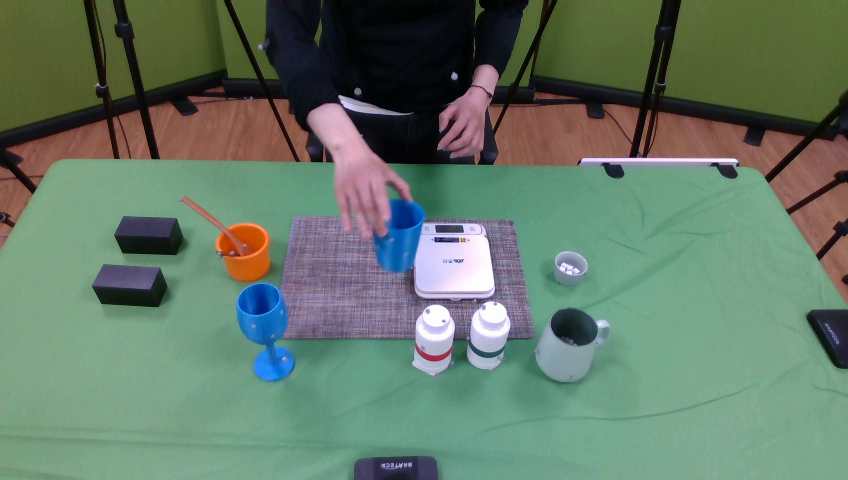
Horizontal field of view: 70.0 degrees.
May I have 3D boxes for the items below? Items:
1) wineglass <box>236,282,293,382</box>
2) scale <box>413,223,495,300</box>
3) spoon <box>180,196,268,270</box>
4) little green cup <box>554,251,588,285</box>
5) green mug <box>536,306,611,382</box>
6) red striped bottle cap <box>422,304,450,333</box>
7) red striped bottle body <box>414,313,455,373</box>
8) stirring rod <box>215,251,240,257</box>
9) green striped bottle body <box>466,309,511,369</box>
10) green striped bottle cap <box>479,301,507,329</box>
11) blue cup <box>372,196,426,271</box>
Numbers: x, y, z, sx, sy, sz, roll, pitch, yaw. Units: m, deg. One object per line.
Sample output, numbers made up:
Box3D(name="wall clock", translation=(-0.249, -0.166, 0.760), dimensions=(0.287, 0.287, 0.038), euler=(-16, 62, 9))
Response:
Box3D(name="wineglass", translation=(-0.243, 0.143, 0.934), dimensions=(0.074, 0.173, 0.073), euler=(2, 46, -2))
Box3D(name="scale", translation=(0.053, 0.031, 1.158), dimensions=(0.149, 0.032, 0.199), euler=(1, 46, -4))
Box3D(name="spoon", translation=(-0.360, -0.014, 1.095), dimensions=(0.021, 0.194, 0.041), euler=(-27, 26, 31))
Box3D(name="little green cup", translation=(0.276, 0.055, 1.151), dimensions=(0.061, 0.039, 0.061), euler=(1, 46, -1))
Box3D(name="green mug", translation=(0.250, 0.167, 0.996), dimensions=(0.125, 0.105, 0.092), euler=(-15, 48, -19))
Box3D(name="red striped bottle cap", translation=(0.019, 0.121, 0.939), dimensions=(0.044, 0.018, 0.044), euler=(0, 49, 1))
Box3D(name="red striped bottle body", translation=(0.016, 0.158, 0.977), dimensions=(0.063, 0.120, 0.062), euler=(2, 46, -2))
Box3D(name="stirring rod", translation=(-0.340, 0.024, 1.059), dimensions=(0.014, 0.176, 0.006), euler=(15, 86, -6))
Box3D(name="green striped bottle body", translation=(0.105, 0.154, 0.988), dimensions=(0.063, 0.120, 0.063), euler=(2, 46, -2))
Box3D(name="green striped bottle cap", translation=(0.109, 0.117, 0.950), dimensions=(0.044, 0.020, 0.044), euler=(2, 47, -2))
Box3D(name="blue cup", translation=(-0.043, -0.005, 0.979), dimensions=(0.093, 0.100, 0.092), euler=(3, 39, -2))
